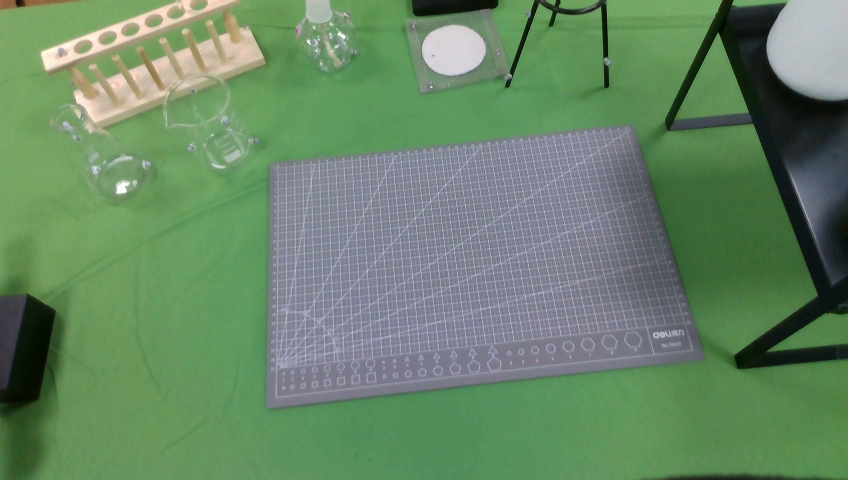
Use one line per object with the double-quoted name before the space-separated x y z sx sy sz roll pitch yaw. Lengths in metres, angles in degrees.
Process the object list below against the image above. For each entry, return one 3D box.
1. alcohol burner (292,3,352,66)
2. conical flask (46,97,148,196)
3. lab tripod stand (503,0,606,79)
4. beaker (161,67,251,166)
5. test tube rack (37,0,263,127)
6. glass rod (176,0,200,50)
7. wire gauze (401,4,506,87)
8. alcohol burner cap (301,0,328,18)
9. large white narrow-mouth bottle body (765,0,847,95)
"alcohol burner" -0.131 -0.280 0.765 0.078 0.120 0.077 -1 62 1
"conical flask" -0.376 -0.110 0.689 0.075 0.123 0.074 -1 64 2
"lab tripod stand" 0.167 -0.267 0.736 0.148 0.132 0.147 0 64 0
"beaker" -0.253 -0.138 0.711 0.073 0.101 0.084 38 72 19
"test tube rack" -0.340 -0.237 0.769 0.242 0.086 0.066 -25 66 -9
"glass rod" -0.299 -0.302 0.724 0.008 0.201 0.008 1 63 -2
"wire gauze" 0.039 -0.265 0.809 0.121 0.011 0.124 -10 65 -4
"alcohol burner cap" -0.133 -0.297 0.733 0.034 0.048 0.033 3 63 -6
"large white narrow-mouth bottle body" 0.355 -0.211 0.471 0.102 0.196 0.101 -1 63 3
